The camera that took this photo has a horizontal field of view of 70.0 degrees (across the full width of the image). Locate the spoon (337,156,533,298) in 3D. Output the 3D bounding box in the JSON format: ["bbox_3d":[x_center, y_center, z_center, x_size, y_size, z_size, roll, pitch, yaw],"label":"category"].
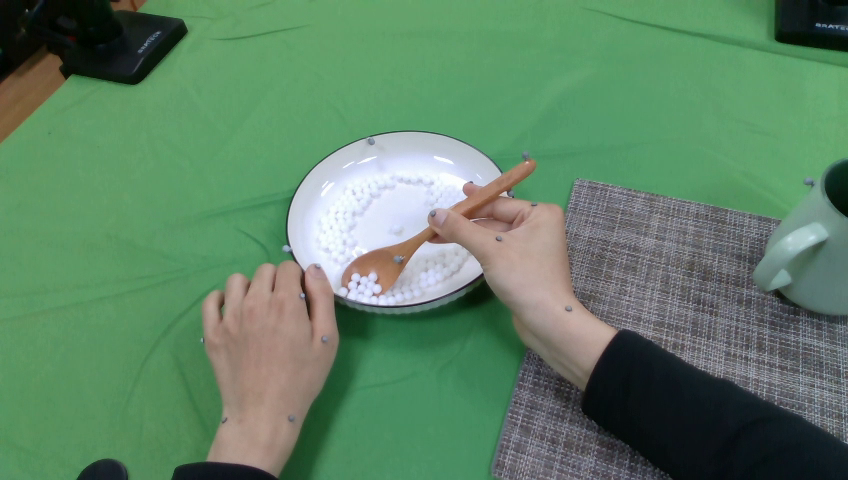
[{"bbox_3d":[0.007,-0.010,0.498,0.194,0.022,0.041,-34,69,18],"label":"spoon"}]

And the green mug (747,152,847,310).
[{"bbox_3d":[0.310,0.001,0.471,0.125,0.106,0.091,-21,55,-11],"label":"green mug"}]

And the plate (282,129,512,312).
[{"bbox_3d":[-0.023,-0.019,0.559,0.209,0.038,0.207,-2,53,3],"label":"plate"}]
